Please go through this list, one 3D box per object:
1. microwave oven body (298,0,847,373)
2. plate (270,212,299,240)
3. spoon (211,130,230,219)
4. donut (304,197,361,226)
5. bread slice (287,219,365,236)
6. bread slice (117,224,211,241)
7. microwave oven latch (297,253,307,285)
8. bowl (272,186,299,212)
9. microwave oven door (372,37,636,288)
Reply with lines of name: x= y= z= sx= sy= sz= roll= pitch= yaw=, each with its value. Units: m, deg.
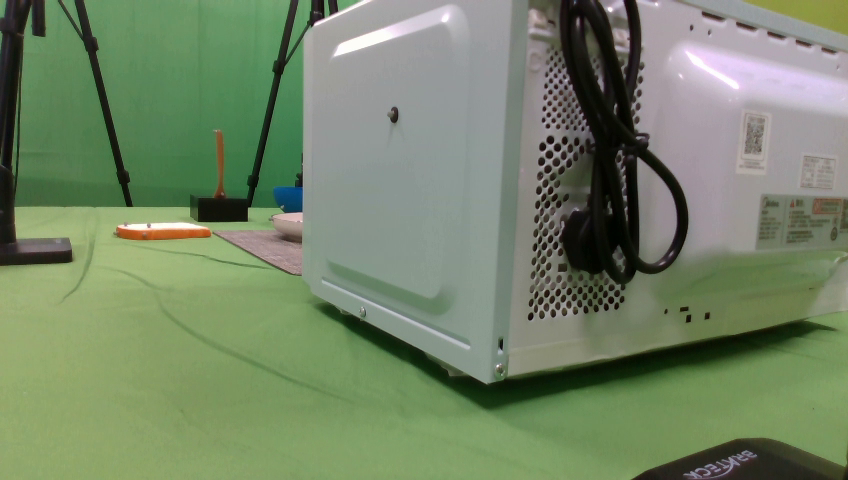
microwave oven body: x=0.151 y=-0.055 z=0.542 sx=0.444 sy=0.260 sz=0.324 roll=-2 pitch=7 yaw=-33
plate: x=-0.162 y=-0.022 z=1.058 sx=0.208 sy=0.039 sz=0.207 roll=2 pitch=7 yaw=0
spoon: x=-0.436 y=-0.138 z=1.296 sx=0.042 sy=0.193 sz=0.021 roll=-3 pitch=23 yaw=-27
donut: x=-0.159 y=-0.050 z=1.055 sx=0.099 sy=0.048 sz=0.099 roll=3 pitch=8 yaw=0
bread slice: x=-0.170 y=-0.022 z=1.056 sx=0.134 sy=0.018 sz=0.107 roll=2 pitch=7 yaw=-6
bread slice: x=-0.443 y=-0.015 z=1.022 sx=0.132 sy=0.019 sz=0.104 roll=-3 pitch=8 yaw=-45
microwave oven latch: x=-0.081 y=0.027 z=0.582 sx=0.079 sy=0.029 sz=0.030 roll=-1 pitch=7 yaw=-32
bowl: x=-0.254 y=-0.076 z=1.318 sx=0.151 sy=0.077 sz=0.151 roll=2 pitch=7 yaw=0
microwave oven door: x=0.109 y=-0.080 z=0.686 sx=0.358 sy=0.243 sz=0.039 roll=-2 pitch=9 yaw=-33
